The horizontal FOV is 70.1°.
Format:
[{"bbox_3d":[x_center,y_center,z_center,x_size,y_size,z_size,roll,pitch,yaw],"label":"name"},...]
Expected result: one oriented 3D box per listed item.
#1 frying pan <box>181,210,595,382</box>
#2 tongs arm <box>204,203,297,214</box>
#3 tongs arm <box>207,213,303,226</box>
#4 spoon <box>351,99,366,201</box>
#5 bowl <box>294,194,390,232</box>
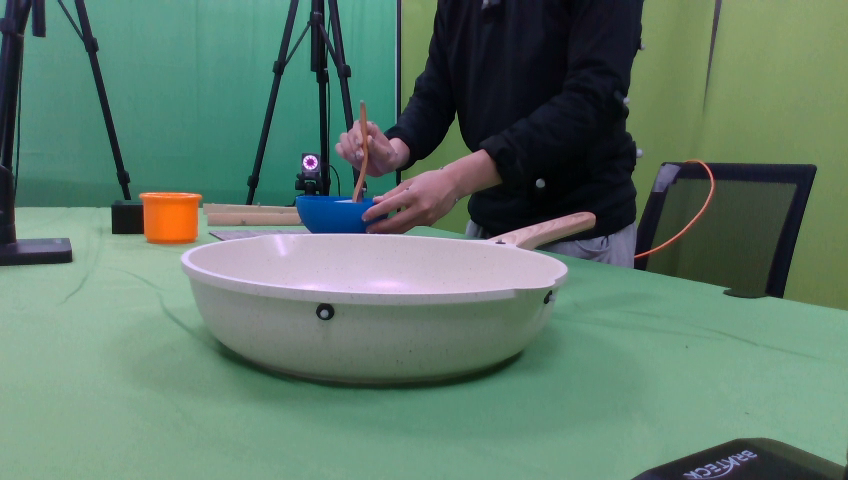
[{"bbox_3d":[0.034,0.019,0.557,0.305,0.102,0.490,10,19,42],"label":"frying pan"},{"bbox_3d":[-0.295,-0.062,1.370,0.386,0.026,0.050,1,9,-19],"label":"tongs arm"},{"bbox_3d":[-0.264,-0.046,1.297,0.390,0.028,0.028,-2,7,-32],"label":"tongs arm"},{"bbox_3d":[-0.100,-0.122,0.952,0.021,0.193,0.041,6,8,10],"label":"spoon"},{"bbox_3d":[-0.130,-0.029,0.958,0.151,0.077,0.151,2,7,0],"label":"bowl"}]
